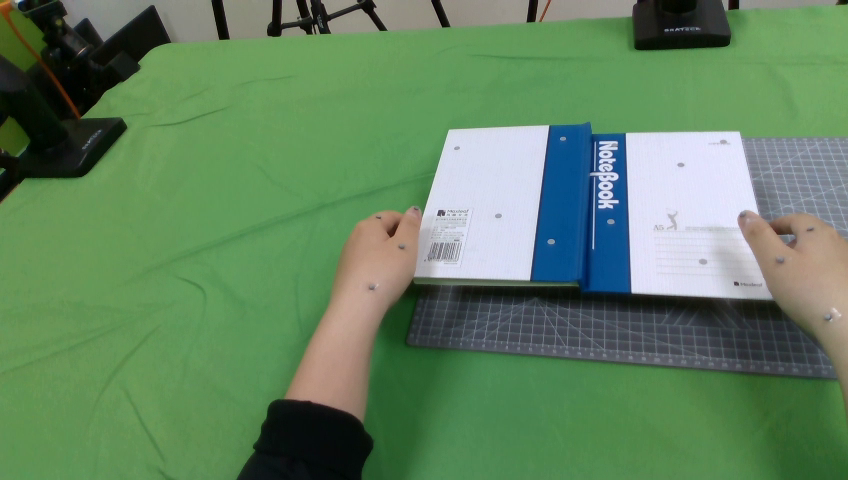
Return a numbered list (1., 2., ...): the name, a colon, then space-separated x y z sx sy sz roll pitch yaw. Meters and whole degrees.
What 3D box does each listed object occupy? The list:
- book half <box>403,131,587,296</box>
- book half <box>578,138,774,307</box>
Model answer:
1. book half: 0.073 -0.033 0.566 0.148 0.016 0.208 1 46 16
2. book half: 0.212 -0.026 0.535 0.143 0.007 0.208 2 45 14
